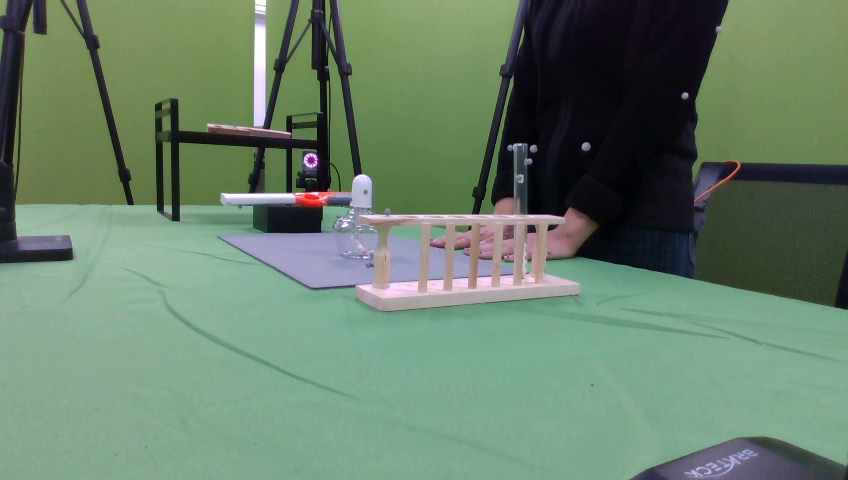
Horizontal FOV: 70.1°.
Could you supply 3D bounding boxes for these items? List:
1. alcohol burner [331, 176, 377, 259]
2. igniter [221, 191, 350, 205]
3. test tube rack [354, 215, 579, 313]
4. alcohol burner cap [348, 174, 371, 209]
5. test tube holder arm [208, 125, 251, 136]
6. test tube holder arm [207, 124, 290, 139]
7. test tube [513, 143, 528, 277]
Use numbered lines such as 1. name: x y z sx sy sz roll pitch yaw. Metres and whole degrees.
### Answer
1. alcohol burner: -0.091 -0.033 0.855 0.078 0.119 0.078 4 7 0
2. igniter: -0.239 -0.078 1.149 0.278 0.025 0.057 -3 20 -31
3. test tube rack: 0.053 0.019 0.635 0.243 0.085 0.066 -1 8 -29
4. alcohol burner cap: -0.089 -0.068 0.849 0.034 0.048 0.034 4 10 0
5. test tube holder arm: -0.418 -0.234 1.299 0.088 0.015 0.010 1 41 -32
6. test tube holder arm: -0.381 -0.237 1.327 0.179 0.015 0.013 0 42 -32
7. test tube: 0.108 -0.033 0.677 0.017 0.150 0.017 -1 8 1
